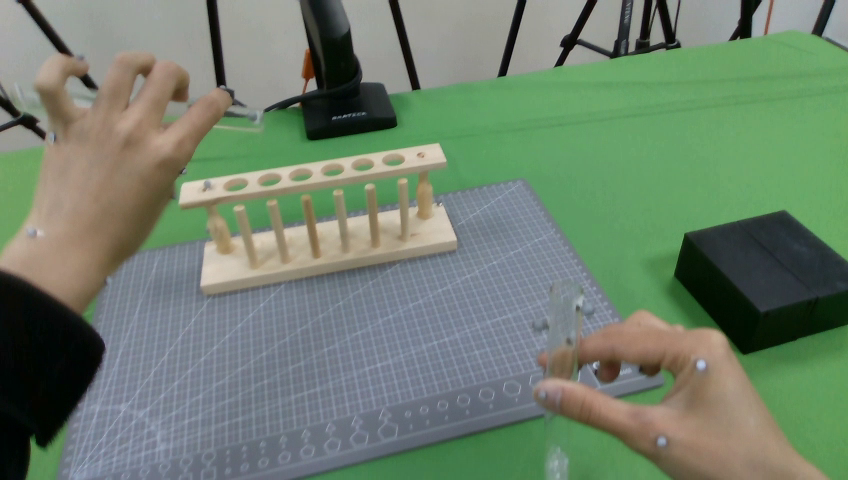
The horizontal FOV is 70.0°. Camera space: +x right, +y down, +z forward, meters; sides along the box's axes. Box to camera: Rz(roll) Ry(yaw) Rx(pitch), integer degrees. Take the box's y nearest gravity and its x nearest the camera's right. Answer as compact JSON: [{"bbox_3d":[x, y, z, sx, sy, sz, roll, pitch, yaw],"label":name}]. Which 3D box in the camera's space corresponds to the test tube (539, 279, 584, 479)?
[{"bbox_3d":[0.070,0.082,0.316,0.017,0.151,0.017,-3,35,3],"label":"test tube"}]

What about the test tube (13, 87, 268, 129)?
[{"bbox_3d":[-0.176,-0.084,0.383,0.151,0.017,0.017,2,39,-10],"label":"test tube"}]

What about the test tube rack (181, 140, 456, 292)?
[{"bbox_3d":[-0.095,-0.024,0.577,0.243,0.086,0.066,-10,41,-7],"label":"test tube rack"}]
